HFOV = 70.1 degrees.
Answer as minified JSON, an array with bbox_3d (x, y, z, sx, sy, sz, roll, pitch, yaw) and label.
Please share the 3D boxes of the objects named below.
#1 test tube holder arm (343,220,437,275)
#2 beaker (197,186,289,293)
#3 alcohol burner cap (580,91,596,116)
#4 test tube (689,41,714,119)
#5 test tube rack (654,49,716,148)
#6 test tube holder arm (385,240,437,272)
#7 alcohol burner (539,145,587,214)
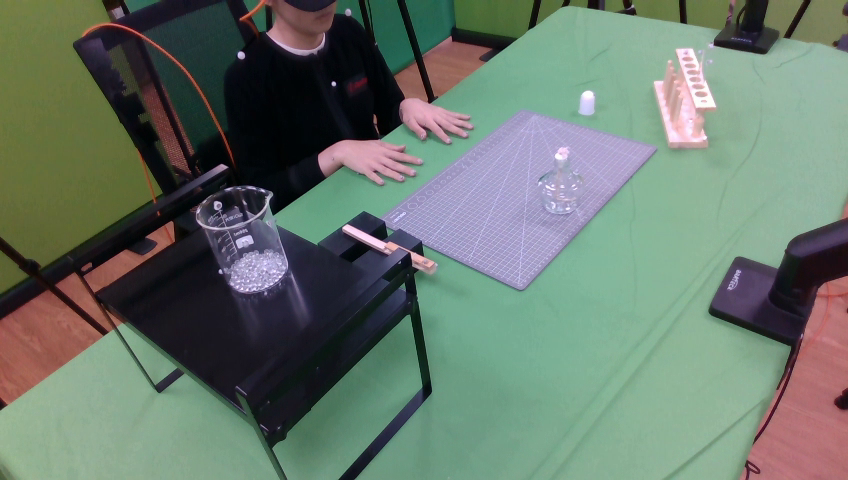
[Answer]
[{"bbox_3d":[-0.054,0.009,0.899,0.177,0.013,0.015,26,58,30],"label":"test tube holder arm"},{"bbox_3d":[-0.192,0.001,0.666,0.084,0.101,0.073,-33,47,-27],"label":"beaker"},{"bbox_3d":[0.338,-0.283,1.239,0.034,0.048,0.033,-4,42,4],"label":"alcohol burner cap"},{"bbox_3d":[0.509,-0.291,1.111,0.017,0.151,0.017,-3,39,3],"label":"test tube"},{"bbox_3d":[0.502,-0.281,1.176,0.066,0.085,0.241,1,41,11],"label":"test tube rack"},{"bbox_3d":[-0.020,0.022,0.872,0.087,0.010,0.015,26,58,31],"label":"test tube holder arm"},{"bbox_3d":[0.226,-0.102,0.986,0.078,0.119,0.077,-6,41,6],"label":"alcohol burner"}]
